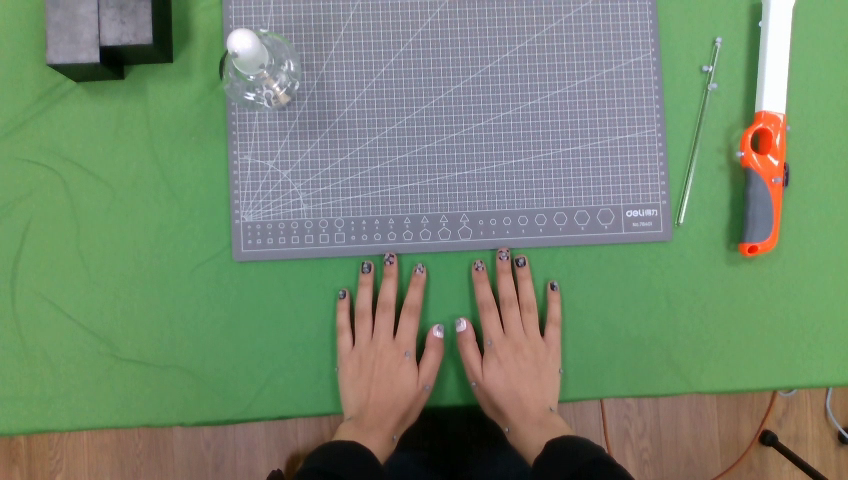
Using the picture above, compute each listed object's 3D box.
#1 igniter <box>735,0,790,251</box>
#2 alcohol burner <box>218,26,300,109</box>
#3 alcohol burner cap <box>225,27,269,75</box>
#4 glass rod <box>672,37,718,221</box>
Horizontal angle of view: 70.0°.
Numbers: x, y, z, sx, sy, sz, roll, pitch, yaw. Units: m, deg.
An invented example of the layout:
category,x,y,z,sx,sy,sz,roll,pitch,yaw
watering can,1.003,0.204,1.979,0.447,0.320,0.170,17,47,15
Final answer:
category,x,y,z,sx,sy,sz,roll,pitch,yaw
igniter,0.353,-0.125,0.627,0.057,0.025,0.276,7,88,-12
alcohol burner,-0.158,-0.166,0.565,0.078,0.119,0.077,0,85,-1
alcohol burner cap,-0.156,-0.167,0.530,0.034,0.048,0.034,0,89,-5
glass rod,0.283,-0.117,0.634,0.008,0.008,0.199,14,87,-1
